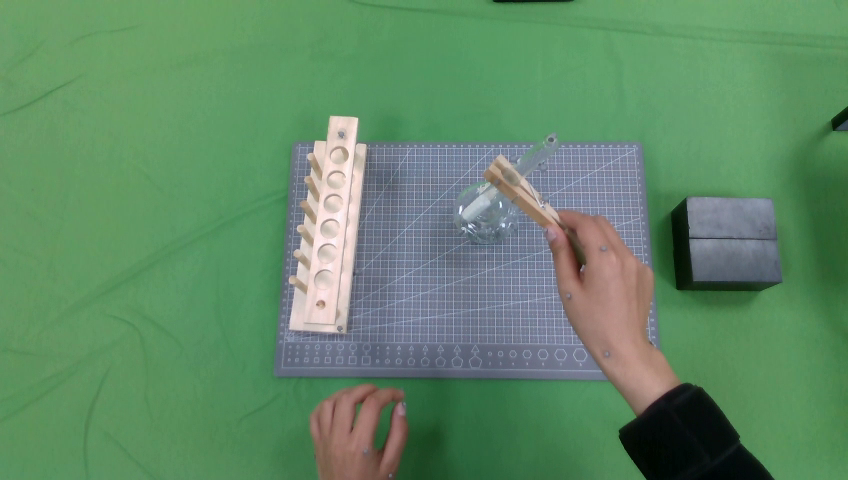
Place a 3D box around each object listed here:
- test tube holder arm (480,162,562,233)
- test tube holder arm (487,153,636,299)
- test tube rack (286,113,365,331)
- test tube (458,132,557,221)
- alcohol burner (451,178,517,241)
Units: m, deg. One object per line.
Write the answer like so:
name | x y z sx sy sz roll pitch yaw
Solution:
test tube holder arm | 0.088 -0.036 0.536 0.088 0.015 0.010 37 63 -8
test tube holder arm | 0.125 -0.011 0.543 0.179 0.015 0.013 43 63 -5
test tube rack | -0.119 -0.020 0.710 0.067 0.085 0.241 4 75 2
test tube | 0.069 -0.052 0.540 0.017 0.150 0.017 10 64 -22
alcohol burner | 0.070 -0.040 0.698 0.078 0.119 0.077 -1 76 2
